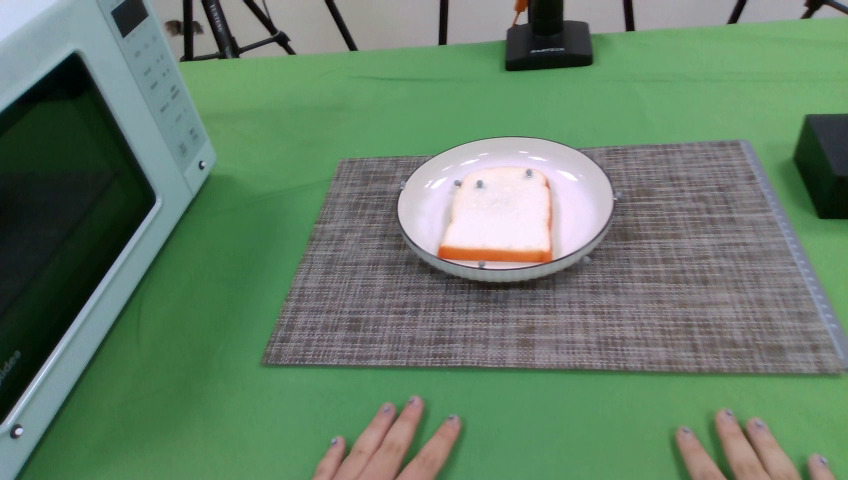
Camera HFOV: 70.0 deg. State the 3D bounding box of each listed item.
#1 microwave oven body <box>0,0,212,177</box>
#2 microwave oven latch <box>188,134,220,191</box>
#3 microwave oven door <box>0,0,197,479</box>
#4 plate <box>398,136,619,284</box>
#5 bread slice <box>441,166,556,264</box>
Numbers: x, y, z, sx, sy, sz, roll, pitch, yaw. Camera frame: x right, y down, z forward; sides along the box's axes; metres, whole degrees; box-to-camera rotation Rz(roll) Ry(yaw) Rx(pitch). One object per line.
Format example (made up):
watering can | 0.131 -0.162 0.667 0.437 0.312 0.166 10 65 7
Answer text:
microwave oven body | -0.446 -0.040 0.535 0.325 0.263 0.438 0 43 10
microwave oven latch | -0.263 -0.089 0.701 0.030 0.030 0.078 1 43 11
microwave oven door | -0.308 -0.017 0.475 0.039 0.246 0.352 -1 42 11
plate | 0.079 -0.030 0.590 0.209 0.038 0.207 -6 42 5
bread slice | 0.076 -0.028 0.592 0.104 0.019 0.130 1 44 12
